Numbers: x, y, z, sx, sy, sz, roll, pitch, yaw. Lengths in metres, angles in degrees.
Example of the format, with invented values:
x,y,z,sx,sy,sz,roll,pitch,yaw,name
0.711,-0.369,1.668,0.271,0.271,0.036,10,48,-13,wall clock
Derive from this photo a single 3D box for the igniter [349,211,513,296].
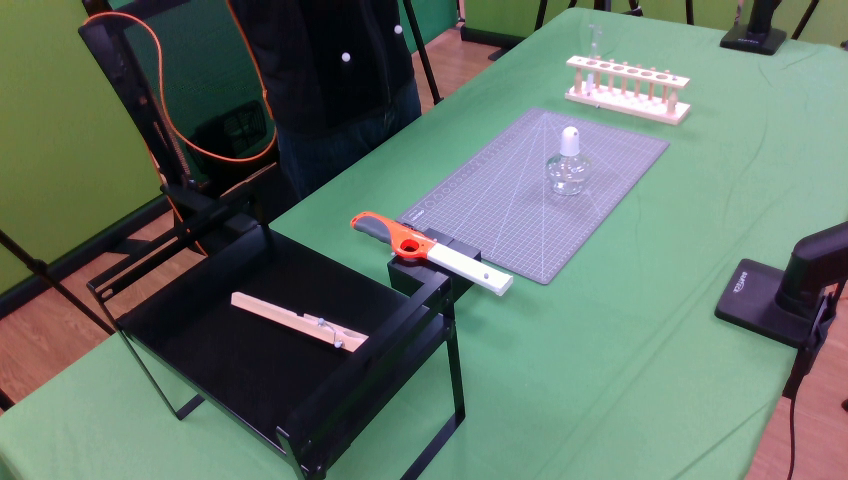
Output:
x,y,z,sx,sy,sz,roll,pitch,yaw,name
0.003,0.013,0.881,0.274,0.025,0.057,24,52,28,igniter

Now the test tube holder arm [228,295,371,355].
x,y,z,sx,sy,sz,roll,pitch,yaw,name
-0.132,0.084,0.618,0.177,0.015,0.013,14,6,24,test tube holder arm

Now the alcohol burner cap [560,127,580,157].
x,y,z,sx,sy,sz,roll,pitch,yaw,name
0.243,-0.165,1.001,0.034,0.048,0.033,-4,38,3,alcohol burner cap

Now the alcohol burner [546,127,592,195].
x,y,z,sx,sy,sz,roll,pitch,yaw,name
0.246,-0.137,1.023,0.078,0.119,0.077,-4,38,4,alcohol burner

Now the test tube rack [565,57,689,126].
x,y,z,sx,sy,sz,roll,pitch,yaw,name
0.412,-0.311,1.230,0.240,0.085,0.067,23,49,32,test tube rack

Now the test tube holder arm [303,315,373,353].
x,y,z,sx,sy,sz,roll,pitch,yaw,name
-0.089,0.094,0.604,0.087,0.015,0.010,14,6,26,test tube holder arm

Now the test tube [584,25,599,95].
x,y,z,sx,sy,sz,roll,pitch,yaw,name
0.339,-0.361,1.224,0.017,0.151,0.017,-4,45,4,test tube
